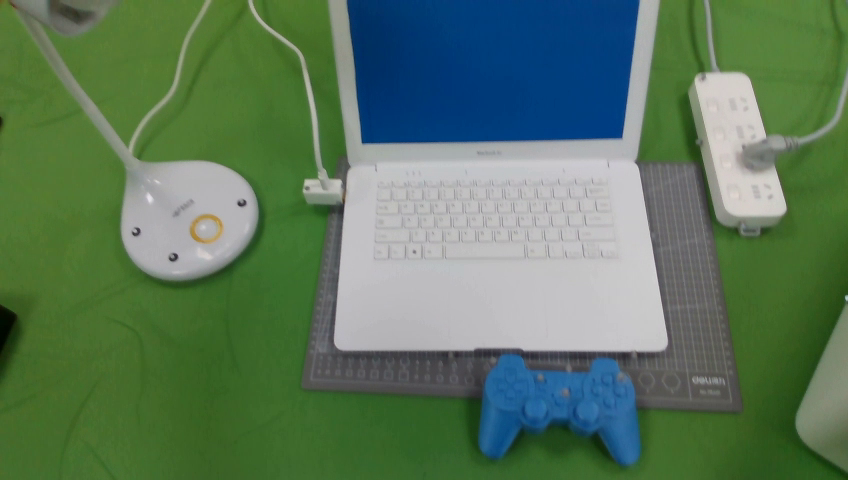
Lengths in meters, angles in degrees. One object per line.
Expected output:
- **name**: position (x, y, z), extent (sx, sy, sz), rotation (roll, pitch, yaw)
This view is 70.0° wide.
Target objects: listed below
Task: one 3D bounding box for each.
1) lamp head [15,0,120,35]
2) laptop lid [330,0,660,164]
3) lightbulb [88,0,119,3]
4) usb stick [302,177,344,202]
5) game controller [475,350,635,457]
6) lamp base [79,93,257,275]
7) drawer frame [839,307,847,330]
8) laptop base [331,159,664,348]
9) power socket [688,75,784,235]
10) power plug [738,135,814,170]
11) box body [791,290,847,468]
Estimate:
- **lamp head**: position (-0.259, -0.211, 0.392), extent (0.123, 0.112, 0.112), rotation (29, 65, -9)
- **laptop lid**: position (0.077, -0.192, 0.686), extent (0.356, 0.243, 0.013), rotation (-2, 31, 3)
- **lightbulb**: position (-0.228, -0.207, 0.389), extent (0.059, 0.059, 0.108), rotation (-37, 105, -15)
- **usb stick**: position (-0.114, -0.060, 0.726), extent (0.059, 0.027, 0.021), rotation (4, 57, 1)
- **game controller**: position (0.129, 0.158, 0.597), extent (0.155, 0.052, 0.096), rotation (2, 61, 4)
- **lamp base**: position (-0.295, -0.072, 0.664), extent (0.178, 0.182, 0.160), rotation (27, 66, 19)
- **drawer frame**: position (0.564, 0.061, 0.597), extent (0.200, 0.083, 0.213), rotation (39, 66, 18)
- **laptop base**: position (0.078, 0.011, 0.693), extent (0.354, 0.023, 0.233), rotation (0, 66, 3)
- **power socket**: position (0.374, -0.112, 0.736), extent (0.072, 0.033, 0.225), rotation (1, 62, 2)
- **power plug**: position (0.402, -0.094, 0.699), extent (0.072, 0.053, 0.035), rotation (11, 62, 7)
- **box body**: position (0.541, 0.087, 0.549), extent (0.252, 0.161, 0.363), rotation (33, 69, 18)
